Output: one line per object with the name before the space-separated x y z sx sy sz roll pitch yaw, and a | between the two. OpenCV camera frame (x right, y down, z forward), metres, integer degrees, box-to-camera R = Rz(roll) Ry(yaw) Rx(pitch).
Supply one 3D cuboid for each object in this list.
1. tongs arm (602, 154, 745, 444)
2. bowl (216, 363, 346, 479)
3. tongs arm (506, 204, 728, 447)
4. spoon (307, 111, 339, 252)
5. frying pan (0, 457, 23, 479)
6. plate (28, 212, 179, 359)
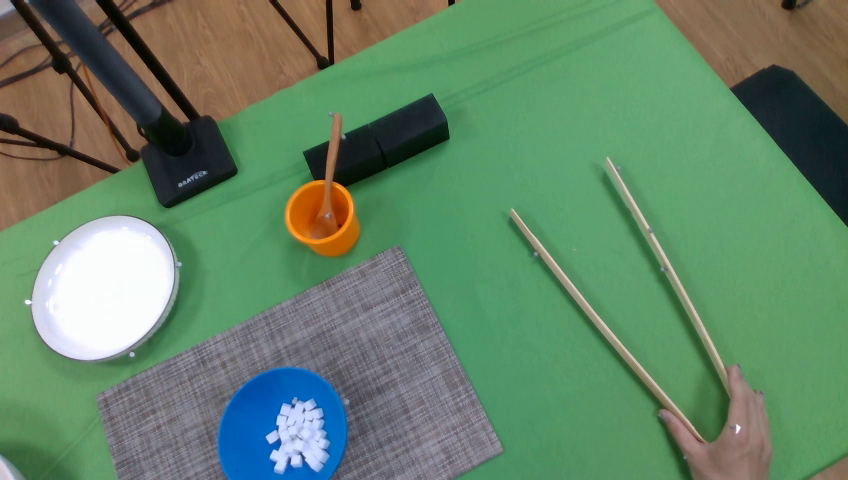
tongs arm | 0.296 0.061 0.758 0.051 0.027 0.382 -23 70 -2
bowl | -0.159 0.228 0.721 0.151 0.077 0.150 -2 70 5
tongs arm | 0.225 0.098 0.756 0.028 0.028 0.384 -34 70 -9
spoon | -0.128 -0.073 0.795 0.041 0.195 0.021 20 29 16
frying pan | -0.546 0.460 0.669 0.307 0.104 0.483 -29 61 -4
plate | -0.436 0.063 0.838 0.207 0.039 0.206 -2 70 6
